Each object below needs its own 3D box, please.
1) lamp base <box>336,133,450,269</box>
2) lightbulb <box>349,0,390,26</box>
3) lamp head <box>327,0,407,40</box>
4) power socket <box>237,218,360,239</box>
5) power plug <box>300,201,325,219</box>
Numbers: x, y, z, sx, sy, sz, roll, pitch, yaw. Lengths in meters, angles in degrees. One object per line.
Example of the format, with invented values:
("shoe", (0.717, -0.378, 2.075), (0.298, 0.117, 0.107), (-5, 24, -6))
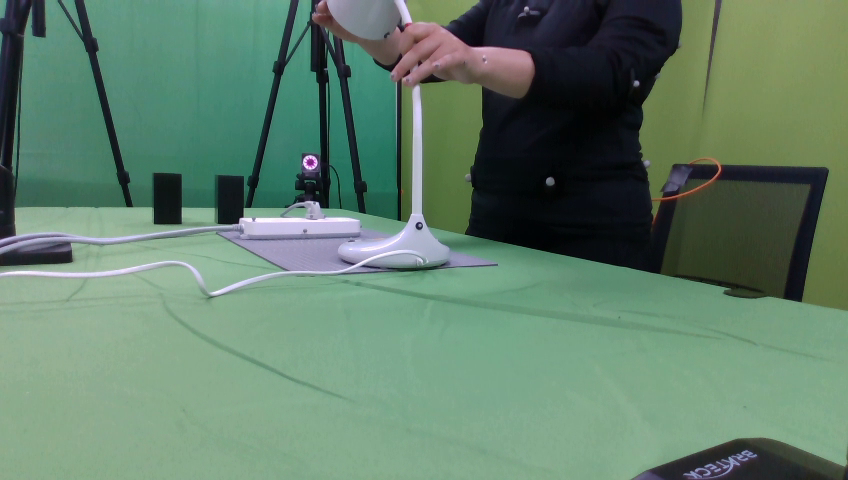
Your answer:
("lamp base", (-0.032, -0.057, 0.830), (0.161, 0.180, 0.178), (-2, 11, -34))
("lightbulb", (-0.073, -0.354, 0.867), (0.060, 0.059, 0.107), (0, -21, -18))
("lamp head", (-0.065, -0.356, 0.842), (0.113, 0.112, 0.122), (-1, -15, -29))
("power socket", (-0.220, -0.023, 1.080), (0.228, 0.032, 0.072), (-2, 7, -33))
("power plug", (-0.207, -0.046, 1.120), (0.035, 0.052, 0.072), (2, 4, -22))
